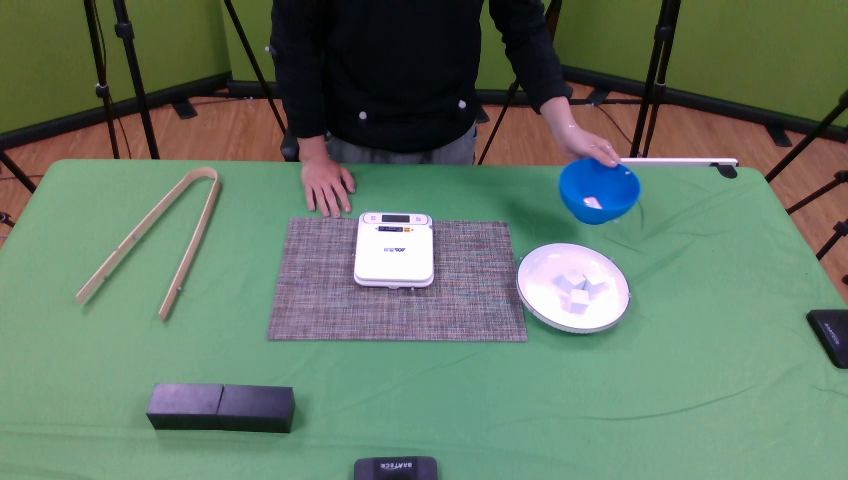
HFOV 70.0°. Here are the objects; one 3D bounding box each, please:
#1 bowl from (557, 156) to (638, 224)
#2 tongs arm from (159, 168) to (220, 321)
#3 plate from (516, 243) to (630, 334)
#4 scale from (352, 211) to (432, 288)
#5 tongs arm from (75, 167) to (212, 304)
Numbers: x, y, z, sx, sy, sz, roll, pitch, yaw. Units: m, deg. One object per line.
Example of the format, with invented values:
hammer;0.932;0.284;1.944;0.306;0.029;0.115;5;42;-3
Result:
bowl;0.325;-0.084;1.161;0.151;0.077;0.150;-1;46;1
tongs arm;-0.446;-0.005;1.164;0.028;0.028;0.385;1;46;0
plate;0.272;0.092;1.120;0.208;0.039;0.206;2;46;-2
scale;-0.060;0.010;1.171;0.149;0.032;0.199;2;46;-3
tongs arm;-0.526;-0.021;1.167;0.051;0.026;0.383;13;46;7
